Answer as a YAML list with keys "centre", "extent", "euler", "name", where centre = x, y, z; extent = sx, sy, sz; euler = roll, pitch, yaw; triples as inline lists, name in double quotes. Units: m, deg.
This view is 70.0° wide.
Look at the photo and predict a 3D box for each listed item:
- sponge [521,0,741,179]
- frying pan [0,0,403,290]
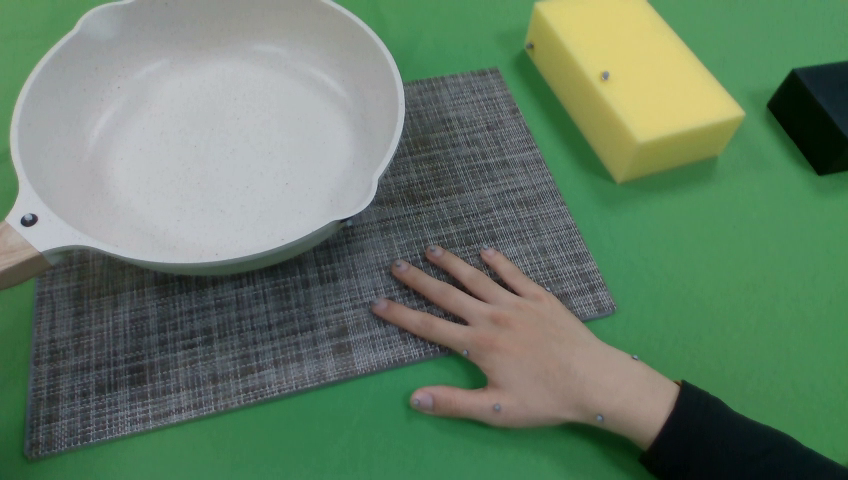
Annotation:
- centre: [0.199, -0.169, 0.612]
  extent: [0.118, 0.061, 0.205]
  euler: [-17, 61, -14]
  name: "sponge"
- centre: [-0.227, -0.036, 0.436]
  extent: [0.305, 0.103, 0.487]
  euler: [36, 54, 17]
  name: "frying pan"
